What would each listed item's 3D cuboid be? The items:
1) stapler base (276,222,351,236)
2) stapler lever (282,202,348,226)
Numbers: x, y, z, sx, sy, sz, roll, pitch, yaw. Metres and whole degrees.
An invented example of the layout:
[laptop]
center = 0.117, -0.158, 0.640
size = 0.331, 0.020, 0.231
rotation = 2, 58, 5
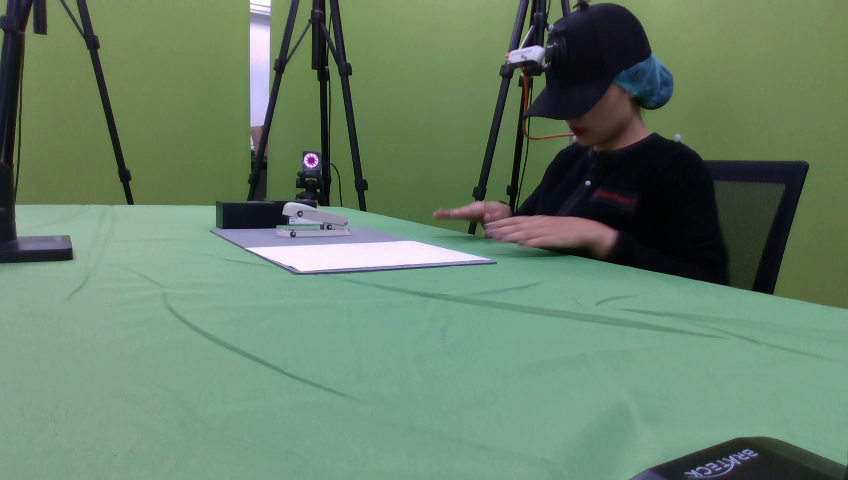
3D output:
[stapler base]
center = -0.196, -0.021, 1.075
size = 0.131, 0.024, 0.041
rotation = 0, 10, -33
[stapler lever]
center = -0.193, -0.045, 1.073
size = 0.119, 0.040, 0.026
rotation = 0, 10, -33
